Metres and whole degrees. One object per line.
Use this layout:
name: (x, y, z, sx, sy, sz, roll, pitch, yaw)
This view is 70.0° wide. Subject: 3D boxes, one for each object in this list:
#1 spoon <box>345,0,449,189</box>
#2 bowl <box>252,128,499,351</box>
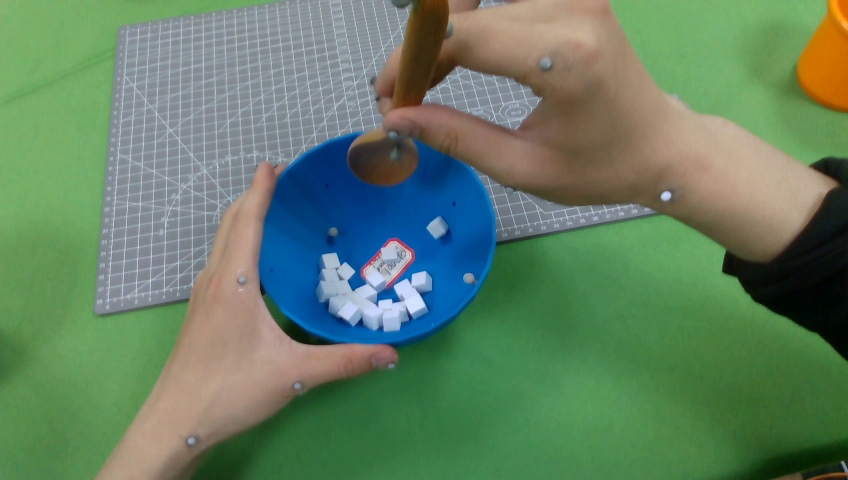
spoon: (-0.011, -0.054, 0.273, 0.042, 0.193, 0.021, 5, 82, -9)
bowl: (-0.029, 0.010, 0.403, 0.151, 0.077, 0.150, 0, 63, 1)
